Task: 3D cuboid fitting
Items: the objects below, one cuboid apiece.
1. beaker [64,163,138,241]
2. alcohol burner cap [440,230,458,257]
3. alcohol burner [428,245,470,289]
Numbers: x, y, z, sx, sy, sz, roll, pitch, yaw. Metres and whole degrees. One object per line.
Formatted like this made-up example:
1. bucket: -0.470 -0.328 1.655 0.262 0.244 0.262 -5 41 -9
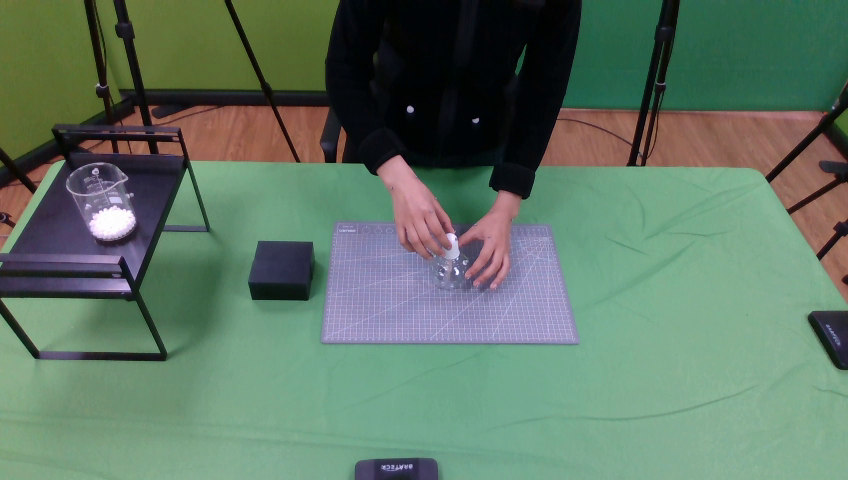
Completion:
1. beaker: -0.477 -0.055 0.910 0.084 0.101 0.073 -9 48 -13
2. alcohol burner cap: 0.046 0.003 1.075 0.034 0.048 0.033 4 44 -4
3. alcohol burner: 0.045 0.032 1.099 0.078 0.120 0.077 1 45 0
